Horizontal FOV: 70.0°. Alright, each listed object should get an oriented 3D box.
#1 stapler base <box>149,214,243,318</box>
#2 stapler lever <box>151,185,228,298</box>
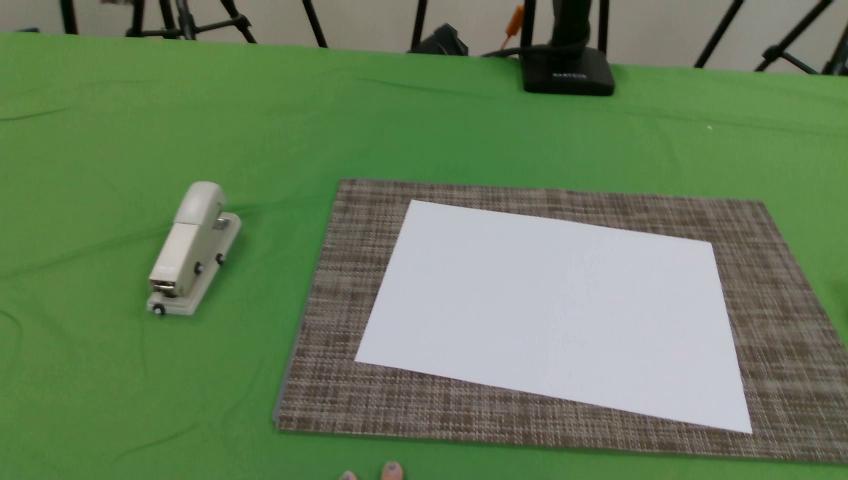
[{"bbox_3d":[-0.205,0.014,0.550,0.041,0.024,0.129,5,44,5],"label":"stapler base"},{"bbox_3d":[-0.204,-0.003,0.532,0.027,0.040,0.117,5,43,5],"label":"stapler lever"}]
